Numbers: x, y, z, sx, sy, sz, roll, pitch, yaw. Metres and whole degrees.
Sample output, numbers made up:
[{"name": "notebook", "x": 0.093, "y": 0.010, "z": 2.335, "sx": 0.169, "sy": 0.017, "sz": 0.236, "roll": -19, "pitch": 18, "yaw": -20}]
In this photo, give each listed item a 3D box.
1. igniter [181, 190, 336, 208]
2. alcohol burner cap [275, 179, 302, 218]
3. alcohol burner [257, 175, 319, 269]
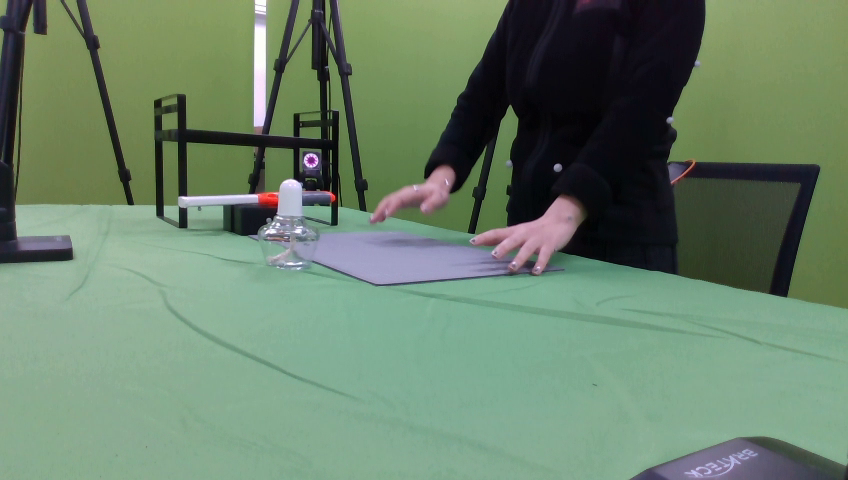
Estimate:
[{"name": "igniter", "x": -0.294, "y": -0.076, "z": 1.103, "sx": 0.278, "sy": 0.025, "sz": 0.057, "roll": -5, "pitch": 12, "yaw": -33}, {"name": "alcohol burner cap", "x": -0.169, "y": -0.053, "z": 0.759, "sx": 0.034, "sy": 0.048, "sz": 0.034, "roll": 4, "pitch": 8, "yaw": 0}, {"name": "alcohol burner", "x": -0.170, "y": -0.023, "z": 0.762, "sx": 0.078, "sy": 0.119, "sz": 0.078, "roll": 4, "pitch": 8, "yaw": 0}]
